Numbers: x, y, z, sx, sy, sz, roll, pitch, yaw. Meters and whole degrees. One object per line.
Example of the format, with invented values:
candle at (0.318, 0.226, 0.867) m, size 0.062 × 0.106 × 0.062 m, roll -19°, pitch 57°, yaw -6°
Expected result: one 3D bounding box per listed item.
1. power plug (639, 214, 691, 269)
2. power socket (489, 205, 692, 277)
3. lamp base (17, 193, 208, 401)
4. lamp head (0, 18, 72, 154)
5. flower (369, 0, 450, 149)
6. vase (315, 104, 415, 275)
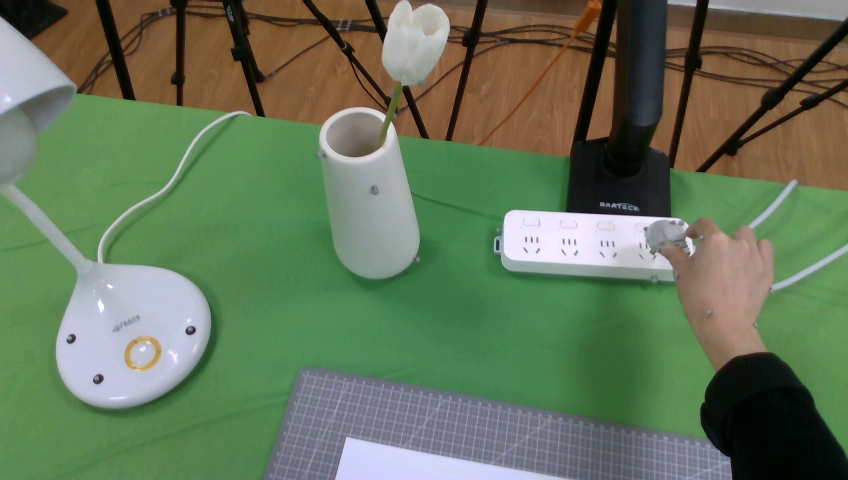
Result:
power plug at (0.244, 0.006, 0.627) m, size 0.035 × 0.053 × 0.072 m, roll 1°, pitch 61°, yaw 1°
power socket at (0.189, 0.001, 0.690) m, size 0.226 × 0.033 × 0.071 m, roll 4°, pitch 58°, yaw 4°
lamp base at (-0.324, 0.046, 0.588) m, size 0.160 × 0.182 × 0.177 m, roll -40°, pitch 62°, yaw -22°
lamp head at (-0.286, -0.099, 0.336) m, size 0.123 × 0.112 × 0.112 m, roll 49°, pitch 64°, yaw -14°
flower at (-0.047, -0.081, 0.553) m, size 0.044 × 0.363 × 0.038 m, roll -28°, pitch 78°, yaw -25°
vase at (-0.062, -0.047, 0.629) m, size 0.098 × 0.202 × 0.097 m, roll -1°, pitch 57°, yaw 2°
